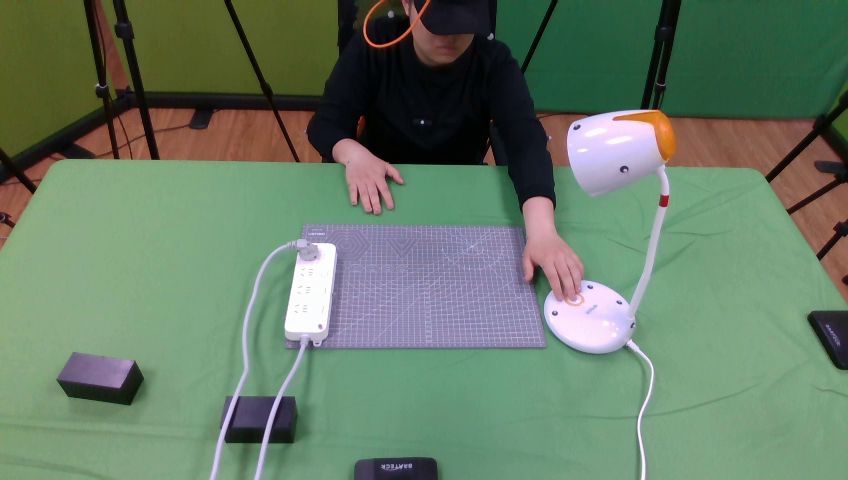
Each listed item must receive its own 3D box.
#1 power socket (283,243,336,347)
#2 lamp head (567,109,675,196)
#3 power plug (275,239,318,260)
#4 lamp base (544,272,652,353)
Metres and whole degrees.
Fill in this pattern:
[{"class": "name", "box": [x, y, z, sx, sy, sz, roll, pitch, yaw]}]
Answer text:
[{"class": "power socket", "box": [-0.202, 0.088, 1.086, 0.072, 0.033, 0.225, 1, 46, -2]}, {"class": "lamp head", "box": [0.272, -0.123, 0.818, 0.122, 0.113, 0.112, -9, 35, 37]}, {"class": "power plug", "box": [-0.232, 0.019, 1.119, 0.072, 0.053, 0.035, 8, 46, 6]}, {"class": "lamp base", "box": [0.310, 0.086, 1.029, 0.178, 0.181, 0.160, 32, 52, 21]}]
